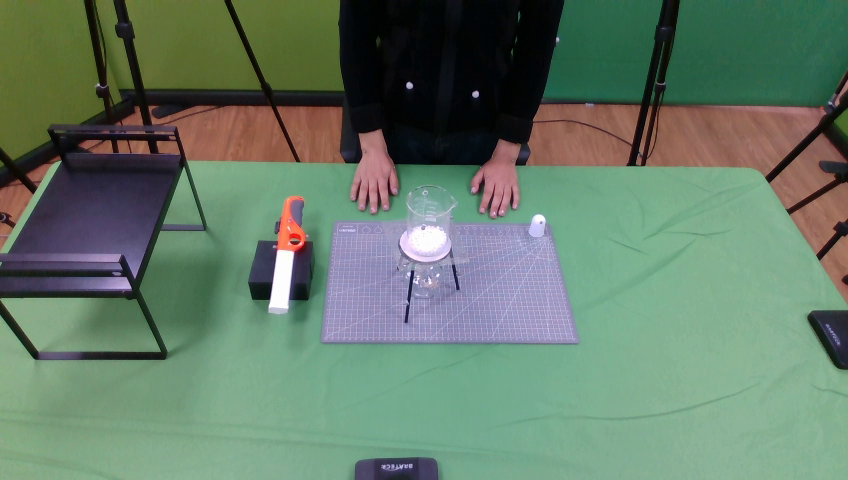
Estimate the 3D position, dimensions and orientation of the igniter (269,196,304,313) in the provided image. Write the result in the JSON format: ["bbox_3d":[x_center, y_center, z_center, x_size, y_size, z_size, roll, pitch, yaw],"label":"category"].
[{"bbox_3d":[-0.249,0.016,1.095,0.057,0.025,0.274,8,46,-13],"label":"igniter"}]

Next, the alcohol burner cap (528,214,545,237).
[{"bbox_3d":[0.231,-0.032,1.230,0.034,0.048,0.033,2,46,-2],"label":"alcohol burner cap"}]

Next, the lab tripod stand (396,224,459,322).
[{"bbox_3d":[-0.004,0.052,1.066,0.148,0.132,0.147,3,48,-3],"label":"lab tripod stand"}]

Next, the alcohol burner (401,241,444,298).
[{"bbox_3d":[-0.001,0.048,1.085,0.078,0.119,0.077,2,44,-2],"label":"alcohol burner"}]

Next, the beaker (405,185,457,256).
[{"bbox_3d":[0.009,-0.029,0.987,0.084,0.101,0.073,-1,47,-5],"label":"beaker"}]

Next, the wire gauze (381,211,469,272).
[{"bbox_3d":[0.000,0.001,1.024,0.125,0.011,0.120,-11,48,-12],"label":"wire gauze"}]
